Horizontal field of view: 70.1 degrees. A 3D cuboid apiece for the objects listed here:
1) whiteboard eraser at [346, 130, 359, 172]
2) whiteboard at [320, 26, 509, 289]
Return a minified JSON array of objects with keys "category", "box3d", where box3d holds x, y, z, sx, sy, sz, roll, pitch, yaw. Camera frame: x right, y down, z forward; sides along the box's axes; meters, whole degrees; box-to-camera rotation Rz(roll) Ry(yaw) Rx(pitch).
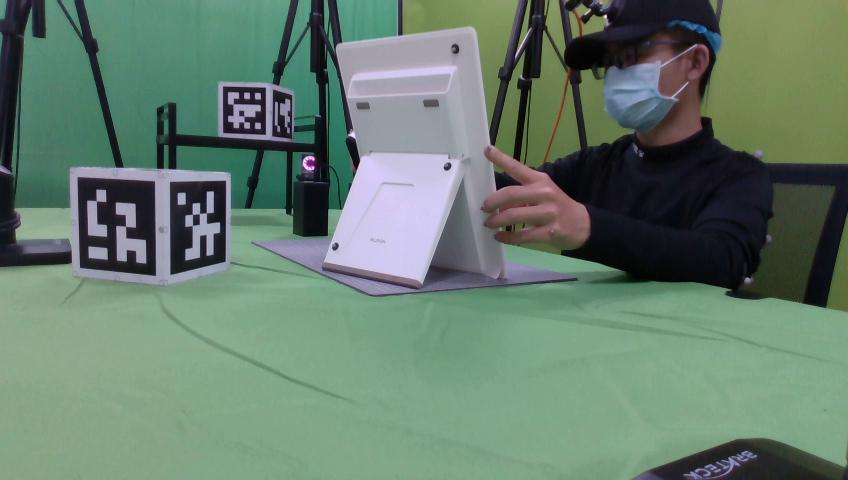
[{"category":"whiteboard eraser","box3d":[-0.096,-0.127,0.940,0.019,0.101,0.041,-38,51,-22]},{"category":"whiteboard","box3d":[-0.046,-0.076,0.720,0.216,0.305,0.144,9,29,39]}]
